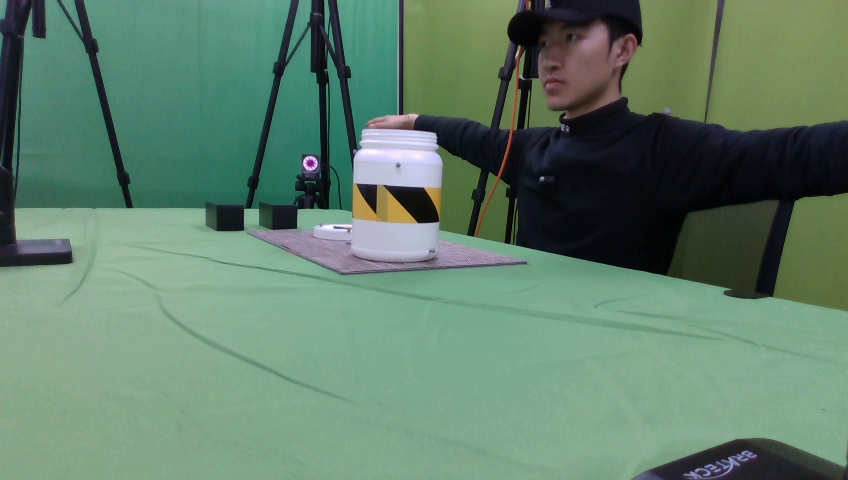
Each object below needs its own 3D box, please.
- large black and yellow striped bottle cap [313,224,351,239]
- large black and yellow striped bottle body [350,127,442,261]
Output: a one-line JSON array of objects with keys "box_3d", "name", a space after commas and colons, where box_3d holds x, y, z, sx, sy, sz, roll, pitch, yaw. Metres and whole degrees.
[{"box_3d": [-0.145, -0.016, 1.108, 0.115, 0.019, 0.115, 3, 7, 0], "name": "large black and yellow striped bottle cap"}, {"box_3d": [-0.040, -0.068, 0.881, 0.131, 0.184, 0.130, 2, 7, 0], "name": "large black and yellow striped bottle body"}]
